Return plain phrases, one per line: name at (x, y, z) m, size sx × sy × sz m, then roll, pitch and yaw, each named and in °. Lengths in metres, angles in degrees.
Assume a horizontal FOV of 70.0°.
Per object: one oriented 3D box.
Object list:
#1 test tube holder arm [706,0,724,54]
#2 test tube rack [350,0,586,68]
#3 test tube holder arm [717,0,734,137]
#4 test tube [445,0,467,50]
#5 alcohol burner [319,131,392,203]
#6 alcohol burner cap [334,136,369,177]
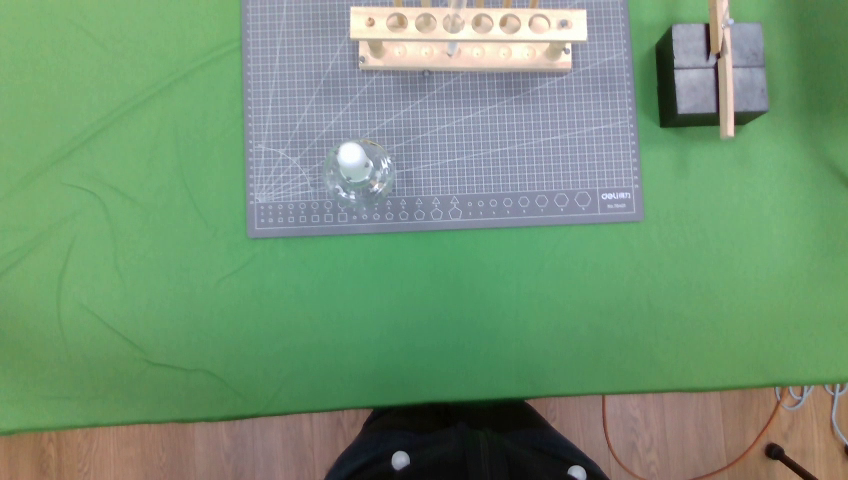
test tube holder arm at (0.314, -0.245, 0.653) m, size 0.010 × 0.015 × 0.087 m, roll -1°, pitch 86°, yaw -8°
test tube rack at (0.046, -0.237, 0.662) m, size 0.242 × 0.085 × 0.066 m, roll 1°, pitch 86°, yaw 0°
test tube holder arm at (0.321, -0.200, 0.651) m, size 0.013 × 0.015 × 0.178 m, roll -2°, pitch 86°, yaw -8°
test tube at (0.033, -0.230, 0.611) m, size 0.017 × 0.150 × 0.017 m, roll 0°, pitch 82°, yaw -2°
alcohol burner at (-0.073, -0.080, 0.634) m, size 0.078 × 0.119 × 0.077 m, roll 0°, pitch 84°, yaw -2°
alcohol burner cap at (-0.073, -0.084, 0.599) m, size 0.034 × 0.048 × 0.033 m, roll 0°, pitch 79°, yaw 2°
